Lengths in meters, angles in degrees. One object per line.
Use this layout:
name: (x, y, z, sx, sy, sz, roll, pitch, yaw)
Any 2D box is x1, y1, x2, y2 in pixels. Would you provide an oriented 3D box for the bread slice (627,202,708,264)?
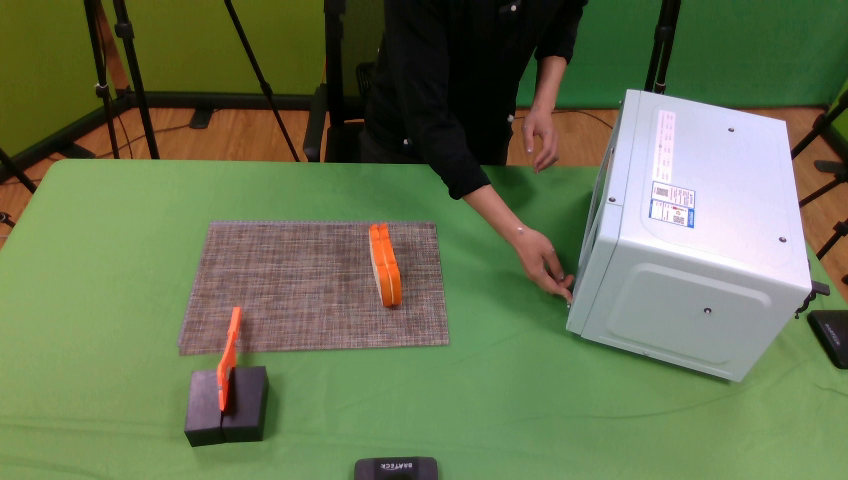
bread slice: (0.474, -0.020, 1.170, 0.134, 0.018, 0.106, -31, 56, -17)

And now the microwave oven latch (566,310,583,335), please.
microwave oven latch: (0.269, 0.127, 1.058, 0.030, 0.029, 0.079, 18, 47, 14)

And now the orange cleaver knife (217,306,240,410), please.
orange cleaver knife: (-0.307, 0.180, 0.957, 0.012, 0.077, 0.210, -2, 25, -8)

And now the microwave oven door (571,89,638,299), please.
microwave oven door: (0.343, -0.091, 1.133, 0.039, 0.245, 0.354, 15, 47, 10)

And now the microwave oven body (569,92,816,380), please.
microwave oven body: (0.469, -0.021, 1.082, 0.325, 0.261, 0.440, 15, 46, 11)

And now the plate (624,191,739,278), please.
plate: (0.482, -0.007, 1.148, 0.208, 0.039, 0.206, 0, 50, 0)
